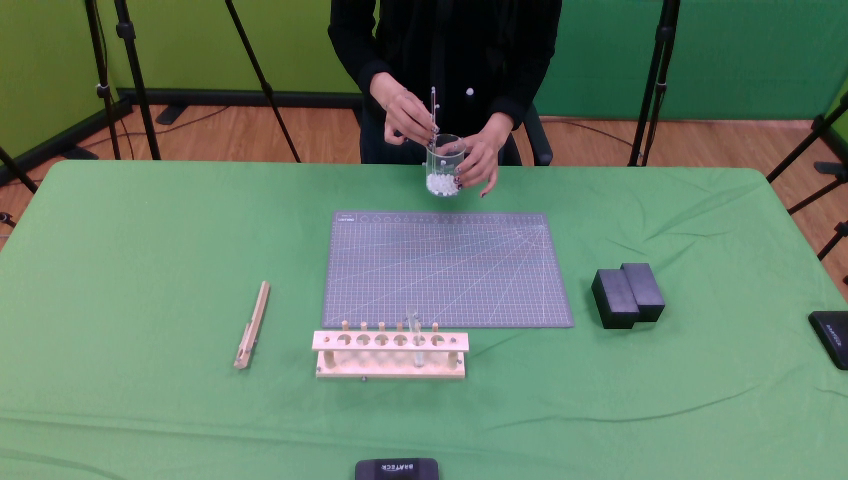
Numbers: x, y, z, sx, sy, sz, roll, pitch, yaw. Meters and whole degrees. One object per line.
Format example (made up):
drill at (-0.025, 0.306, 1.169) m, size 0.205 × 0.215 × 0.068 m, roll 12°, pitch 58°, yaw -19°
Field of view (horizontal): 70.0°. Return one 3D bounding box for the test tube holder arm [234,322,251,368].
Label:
test tube holder arm at (-0.299, 0.173, 1.013) m, size 0.010 × 0.015 × 0.087 m, roll -17°, pitch 41°, yaw 22°

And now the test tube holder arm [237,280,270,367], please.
test tube holder arm at (-0.291, 0.140, 1.042) m, size 0.013 × 0.015 × 0.177 m, roll -17°, pitch 41°, yaw 22°

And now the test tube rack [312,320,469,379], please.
test tube rack at (-0.054, 0.173, 0.984) m, size 0.242 × 0.085 × 0.066 m, roll 1°, pitch 46°, yaw -3°

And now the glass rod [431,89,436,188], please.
glass rod at (0.018, -0.178, 1.092) m, size 0.008 × 0.201 × 0.008 m, roll -1°, pitch 39°, yaw 1°

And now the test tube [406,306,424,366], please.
test tube at (-0.013, 0.152, 0.939) m, size 0.017 × 0.151 × 0.017 m, roll -3°, pitch 48°, yaw 3°

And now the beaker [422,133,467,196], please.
beaker at (0.036, -0.140, 1.140) m, size 0.084 × 0.101 × 0.073 m, roll 12°, pitch 44°, yaw 11°
